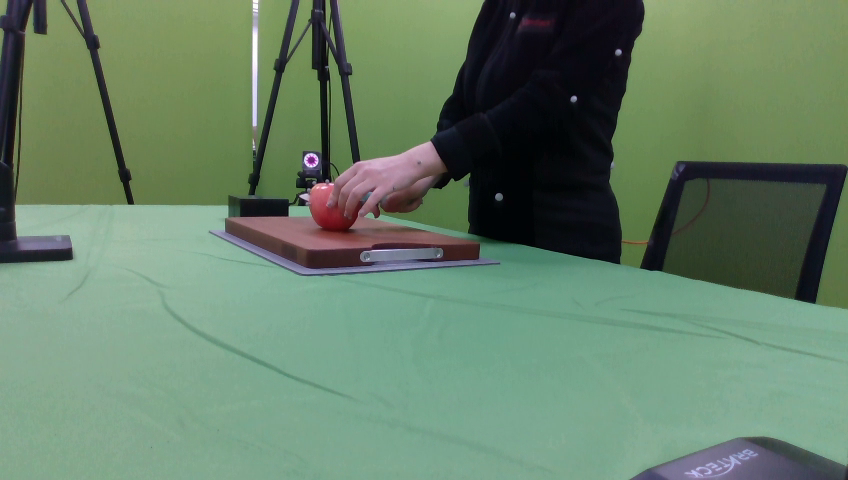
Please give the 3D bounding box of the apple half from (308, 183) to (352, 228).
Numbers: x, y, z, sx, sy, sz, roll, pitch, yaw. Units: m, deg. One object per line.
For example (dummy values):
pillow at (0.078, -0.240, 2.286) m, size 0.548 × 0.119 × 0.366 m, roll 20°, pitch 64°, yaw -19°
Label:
apple half at (-0.158, -0.058, 0.981) m, size 0.082 × 0.081 × 0.032 m, roll -3°, pitch 8°, yaw -34°

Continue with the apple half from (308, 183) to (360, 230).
apple half at (-0.136, -0.052, 0.949) m, size 0.081 × 0.074 × 0.053 m, roll 2°, pitch 12°, yaw -36°

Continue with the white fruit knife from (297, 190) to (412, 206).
white fruit knife at (-0.109, -0.070, 0.993) m, size 0.208 × 0.027 × 0.016 m, roll -2°, pitch 3°, yaw -34°
